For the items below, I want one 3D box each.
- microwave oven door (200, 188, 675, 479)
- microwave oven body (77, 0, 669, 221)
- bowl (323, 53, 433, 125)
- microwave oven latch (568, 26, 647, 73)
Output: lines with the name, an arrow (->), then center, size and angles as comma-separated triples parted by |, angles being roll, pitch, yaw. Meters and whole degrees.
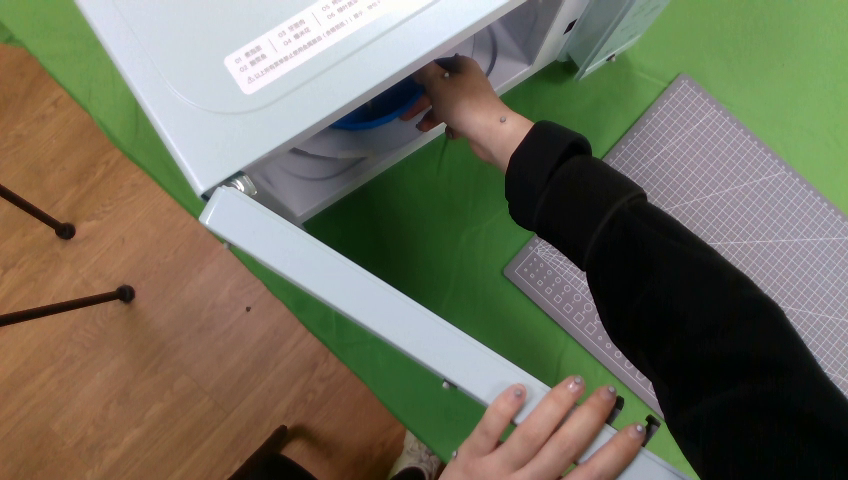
microwave oven door -> 0.010, 0.082, 0.491 | 0.355, 0.244, 0.039 | 32, 83, 2
microwave oven body -> -0.036, -0.245, 0.530 | 0.442, 0.260, 0.325 | -33, 86, -4
bowl -> -0.065, -0.167, 0.552 | 0.151, 0.077, 0.151 | 0, 80, -2
microwave oven latch -> 0.191, -0.208, 0.632 | 0.079, 0.029, 0.030 | -31, 86, -4
